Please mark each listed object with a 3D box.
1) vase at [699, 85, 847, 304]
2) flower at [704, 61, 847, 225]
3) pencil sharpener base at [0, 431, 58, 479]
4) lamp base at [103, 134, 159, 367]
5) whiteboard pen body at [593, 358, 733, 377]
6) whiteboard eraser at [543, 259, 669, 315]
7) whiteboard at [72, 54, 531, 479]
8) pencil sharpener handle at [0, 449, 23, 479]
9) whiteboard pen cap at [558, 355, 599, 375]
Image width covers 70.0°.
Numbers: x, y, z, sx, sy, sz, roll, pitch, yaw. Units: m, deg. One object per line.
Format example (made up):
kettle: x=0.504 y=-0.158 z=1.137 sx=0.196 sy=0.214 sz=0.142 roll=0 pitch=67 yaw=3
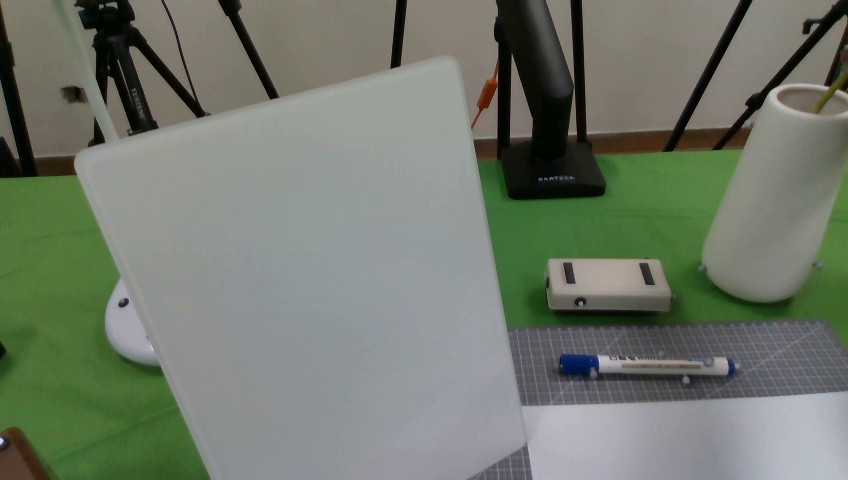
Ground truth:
vase: x=0.324 y=-0.036 z=0.558 sx=0.098 sy=0.202 sz=0.097 roll=-1 pitch=38 yaw=1
flower: x=0.322 y=-0.130 z=0.459 sx=0.044 sy=0.364 sz=0.038 roll=-4 pitch=53 yaw=-23
pencil sharpener base: x=-0.258 y=0.186 z=0.387 sx=0.076 sy=0.108 sz=0.061 roll=29 pitch=49 yaw=35
lamp base: x=-0.247 y=-0.001 z=0.567 sx=0.177 sy=0.182 sz=0.160 roll=25 pitch=46 yaw=35
whiteboard pen body: x=0.194 y=0.110 z=0.524 sx=0.141 sy=0.017 sz=0.017 roll=0 pitch=38 yaw=4
whiteboard eraser: x=0.175 y=0.047 z=0.590 sx=0.112 sy=0.042 sz=0.055 roll=-1 pitch=36 yaw=4
whiteboard: x=-0.071 y=0.047 z=0.437 sx=0.217 sy=0.307 sz=0.142 roll=-21 pitch=22 yaw=-21
pencil sharpener handle: x=-0.293 y=0.155 z=0.409 sx=0.030 sy=0.068 sz=0.036 roll=29 pitch=57 yaw=35
whiteboard pen cap: x=0.134 y=0.110 z=0.528 sx=0.033 sy=0.018 sz=0.018 roll=1 pitch=38 yaw=2
